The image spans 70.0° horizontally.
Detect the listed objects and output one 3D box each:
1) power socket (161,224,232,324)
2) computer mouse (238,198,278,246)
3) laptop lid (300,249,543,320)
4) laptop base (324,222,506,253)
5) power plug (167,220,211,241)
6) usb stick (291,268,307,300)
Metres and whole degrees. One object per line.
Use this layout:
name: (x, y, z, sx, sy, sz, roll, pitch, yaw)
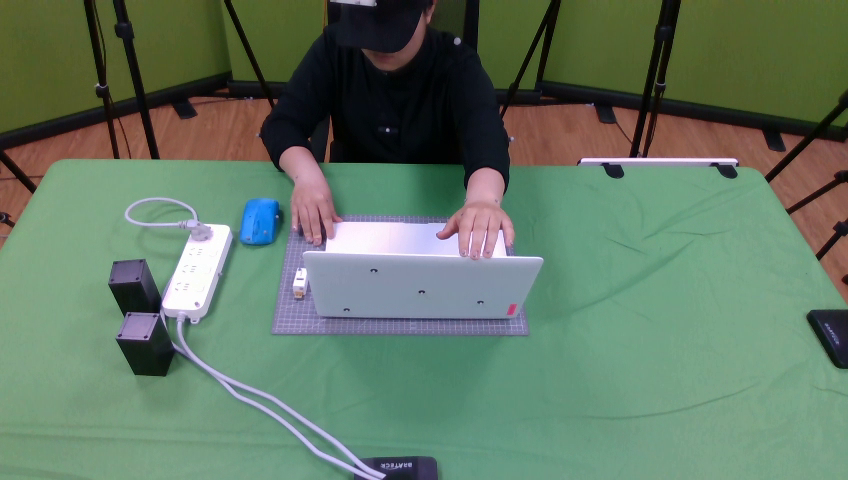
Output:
power socket: (-0.411, 0.052, 1.107, 0.072, 0.033, 0.225, 4, 45, -2)
computer mouse: (-0.328, -0.039, 1.200, 0.063, 0.041, 0.116, 3, 50, -4)
laptop lid: (-0.006, 0.078, 0.962, 0.357, 0.242, 0.013, 2, 59, -4)
laptop base: (-0.016, 0.054, 1.145, 0.354, 0.023, 0.234, 1, 43, -3)
power plug: (-0.438, -0.017, 1.143, 0.072, 0.053, 0.035, 10, 43, 6)
usb stick: (-0.227, 0.081, 1.094, 0.021, 0.027, 0.059, 4, 48, -1)
